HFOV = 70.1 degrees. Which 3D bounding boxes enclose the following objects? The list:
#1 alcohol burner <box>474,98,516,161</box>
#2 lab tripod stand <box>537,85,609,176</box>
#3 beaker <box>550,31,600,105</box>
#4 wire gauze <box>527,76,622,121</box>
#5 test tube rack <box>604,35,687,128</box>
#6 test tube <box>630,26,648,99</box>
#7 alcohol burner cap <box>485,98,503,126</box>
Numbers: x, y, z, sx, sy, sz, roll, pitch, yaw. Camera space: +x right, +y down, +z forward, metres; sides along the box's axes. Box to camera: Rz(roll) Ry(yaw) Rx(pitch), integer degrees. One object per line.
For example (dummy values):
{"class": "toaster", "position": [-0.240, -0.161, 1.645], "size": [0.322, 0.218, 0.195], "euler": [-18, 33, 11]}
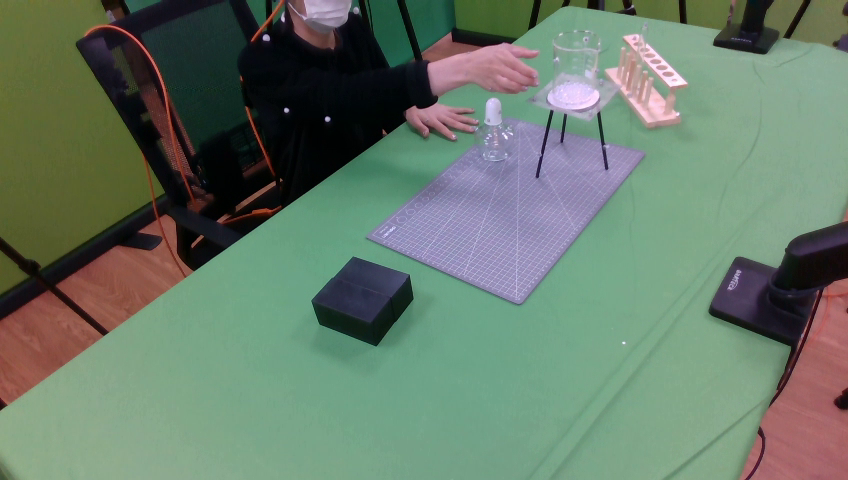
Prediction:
{"class": "alcohol burner", "position": [0.131, -0.208, 1.121], "size": [0.078, 0.119, 0.077], "euler": [-6, 40, 5]}
{"class": "lab tripod stand", "position": [0.259, -0.192, 1.068], "size": [0.148, 0.132, 0.147], "euler": [-4, 43, 4]}
{"class": "beaker", "position": [0.250, -0.281, 0.996], "size": [0.074, 0.101, 0.083], "euler": [-37, 49, -27]}
{"class": "wire gauze", "position": [0.255, -0.247, 1.030], "size": [0.124, 0.011, 0.122], "euler": [23, 49, 34]}
{"class": "test tube rack", "position": [0.447, -0.330, 1.241], "size": [0.067, 0.085, 0.241], "euler": [-9, 41, -2]}
{"class": "test tube", "position": [0.426, -0.350, 1.199], "size": [0.017, 0.151, 0.017], "euler": [-4, 42, 4]}
{"class": "alcohol burner cap", "position": [0.126, -0.234, 1.097], "size": [0.034, 0.048, 0.033], "euler": [-3, 40, 3]}
